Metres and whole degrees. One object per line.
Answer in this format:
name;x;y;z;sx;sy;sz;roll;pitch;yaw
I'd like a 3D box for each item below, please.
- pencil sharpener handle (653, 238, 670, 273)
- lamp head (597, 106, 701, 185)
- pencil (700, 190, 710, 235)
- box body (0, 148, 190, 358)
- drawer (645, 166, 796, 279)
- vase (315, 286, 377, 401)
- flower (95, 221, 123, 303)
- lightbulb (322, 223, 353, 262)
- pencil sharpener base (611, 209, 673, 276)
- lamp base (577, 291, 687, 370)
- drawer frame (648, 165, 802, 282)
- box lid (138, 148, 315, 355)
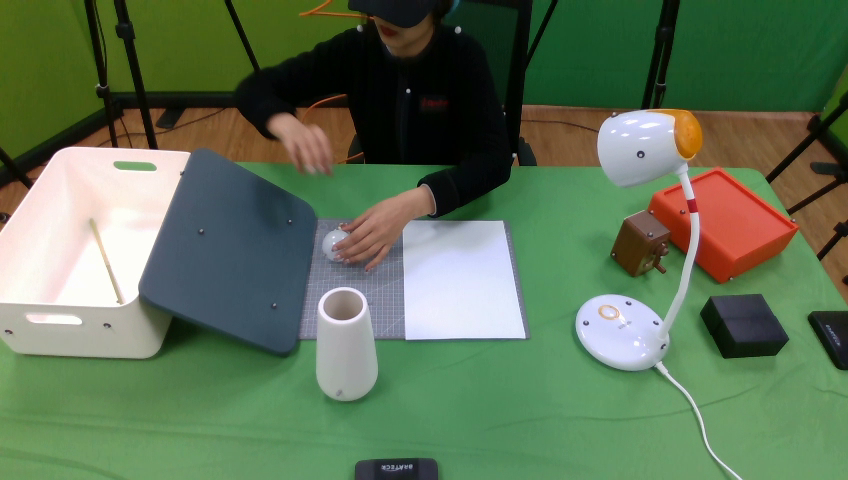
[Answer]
pencil sharpener handle;0.444;0.030;1.120;0.036;0.068;0.030;-25;52;-18
lamp head;0.328;-0.138;0.865;0.112;0.113;0.122;-36;20;-32
pencil;0.584;-0.059;1.256;0.012;0.012;0.193;16;34;12
box body;-0.546;0.017;1.045;0.254;0.161;0.361;2;46;-2
drawer;0.600;-0.041;1.236;0.195;0.073;0.210;-21;51;-23
vase;-0.119;0.159;0.911;0.098;0.201;0.097;2;47;-2
flower;-0.558;0.069;1.088;0.044;0.038;0.359;-26;48;-17
lightbulb;-0.162;-0.001;1.164;0.059;0.060;0.107;4;30;0
pencil sharpener base;0.416;0.007;1.158;0.061;0.107;0.076;-21;51;-22
lamp base;0.361;0.110;1.003;0.160;0.181;0.178;-30;57;-28
drawer frame;0.603;-0.040;1.233;0.202;0.083;0.212;-21;51;-23
box lid;-0.322;0.008;1.063;0.264;0.015;0.369;30;38;-28
